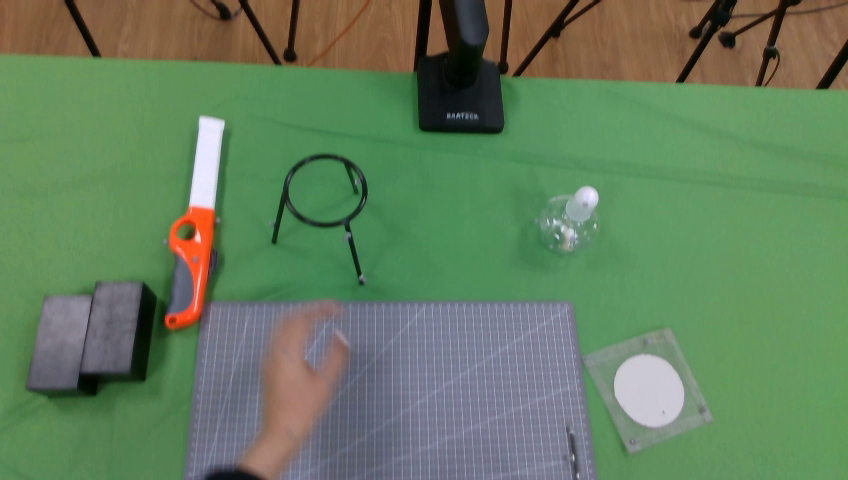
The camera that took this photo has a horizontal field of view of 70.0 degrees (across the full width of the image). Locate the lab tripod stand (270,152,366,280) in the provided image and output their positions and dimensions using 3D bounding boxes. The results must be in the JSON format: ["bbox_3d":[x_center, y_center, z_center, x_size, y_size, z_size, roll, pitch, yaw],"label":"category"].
[{"bbox_3d":[-0.113,-0.035,0.707,0.148,0.132,0.147,2,65,-4],"label":"lab tripod stand"}]

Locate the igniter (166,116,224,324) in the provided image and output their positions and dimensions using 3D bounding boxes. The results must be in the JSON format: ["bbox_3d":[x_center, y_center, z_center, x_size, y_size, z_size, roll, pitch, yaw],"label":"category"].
[{"bbox_3d":[-0.276,-0.030,0.743,0.057,0.025,0.274,8,66,-20],"label":"igniter"}]

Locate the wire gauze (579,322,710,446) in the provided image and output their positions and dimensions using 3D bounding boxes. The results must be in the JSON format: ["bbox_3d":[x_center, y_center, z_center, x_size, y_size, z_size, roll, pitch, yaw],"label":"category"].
[{"bbox_3d":[0.269,0.172,0.735,0.125,0.011,0.120,-17,70,-11],"label":"wire gauze"}]

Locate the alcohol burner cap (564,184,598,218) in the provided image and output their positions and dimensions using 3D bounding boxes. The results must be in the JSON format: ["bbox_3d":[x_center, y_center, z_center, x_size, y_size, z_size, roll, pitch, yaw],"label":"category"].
[{"bbox_3d":[0.190,-0.049,0.721,0.034,0.048,0.033,1,71,-4],"label":"alcohol burner cap"}]

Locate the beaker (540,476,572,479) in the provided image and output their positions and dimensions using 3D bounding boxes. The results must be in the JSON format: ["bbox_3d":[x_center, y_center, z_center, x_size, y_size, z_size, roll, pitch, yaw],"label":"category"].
[{"bbox_3d":[0.117,0.282,0.618,0.074,0.101,0.083,30,66,7],"label":"beaker"}]

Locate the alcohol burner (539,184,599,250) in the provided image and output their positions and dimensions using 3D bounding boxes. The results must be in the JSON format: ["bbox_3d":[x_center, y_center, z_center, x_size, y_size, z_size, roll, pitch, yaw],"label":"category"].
[{"bbox_3d":[0.186,-0.035,0.754,0.078,0.120,0.077,3,65,-5],"label":"alcohol burner"}]

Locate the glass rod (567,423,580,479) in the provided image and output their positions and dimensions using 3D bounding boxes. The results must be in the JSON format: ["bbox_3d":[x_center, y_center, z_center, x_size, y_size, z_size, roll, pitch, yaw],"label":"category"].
[{"bbox_3d":[0.173,0.304,0.664,0.008,0.008,0.198,0,67,-7],"label":"glass rod"}]
